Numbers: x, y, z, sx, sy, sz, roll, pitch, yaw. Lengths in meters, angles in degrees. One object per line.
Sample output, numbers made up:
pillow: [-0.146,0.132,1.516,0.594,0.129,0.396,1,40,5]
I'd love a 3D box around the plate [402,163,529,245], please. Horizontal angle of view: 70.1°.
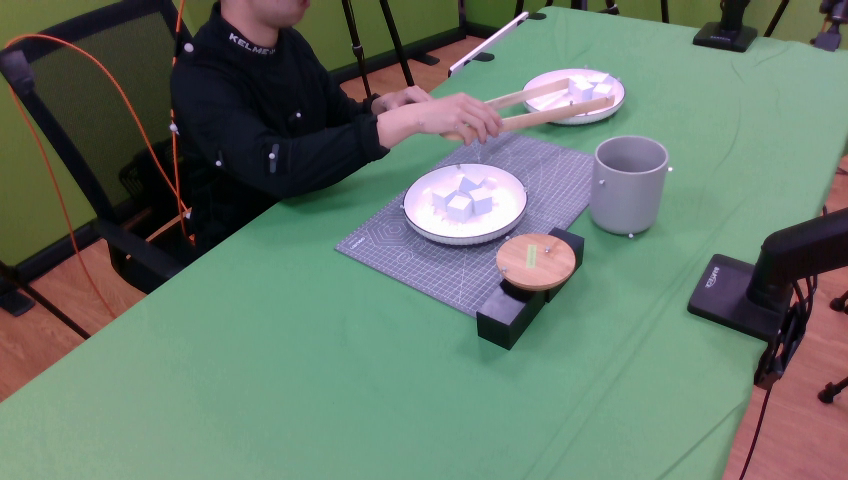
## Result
plate: [0.069,-0.056,1.008,0.209,0.038,0.208,-4,40,4]

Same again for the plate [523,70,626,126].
plate: [0.308,-0.289,1.251,0.207,0.039,0.206,-4,41,4]

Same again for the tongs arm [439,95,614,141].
tongs arm: [0.202,-0.234,1.129,0.387,0.026,0.050,-18,41,-28]

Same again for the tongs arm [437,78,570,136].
tongs arm: [0.163,-0.265,1.174,0.390,0.028,0.028,-25,47,-34]

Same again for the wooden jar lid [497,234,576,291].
wooden jar lid: [0.154,0.032,0.834,0.108,0.021,0.108,-5,40,5]

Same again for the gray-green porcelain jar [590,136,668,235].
gray-green porcelain jar: [0.314,-0.080,0.937,0.106,0.127,0.105,-4,41,4]
